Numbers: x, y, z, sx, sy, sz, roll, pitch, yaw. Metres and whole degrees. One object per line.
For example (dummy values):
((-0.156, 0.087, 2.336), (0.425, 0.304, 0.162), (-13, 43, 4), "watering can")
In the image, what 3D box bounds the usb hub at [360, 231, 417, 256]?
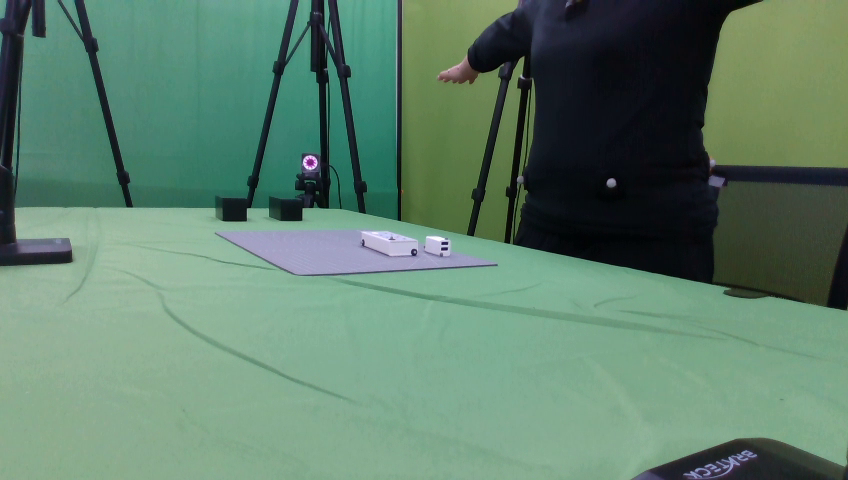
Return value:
((-0.059, 0.004, 0.951), (0.050, 0.025, 0.124), (-1, 8, -26), "usb hub")

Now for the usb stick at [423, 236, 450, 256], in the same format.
((0.017, 0.009, 0.937), (0.021, 0.027, 0.059), (-1, 5, -29), "usb stick")
